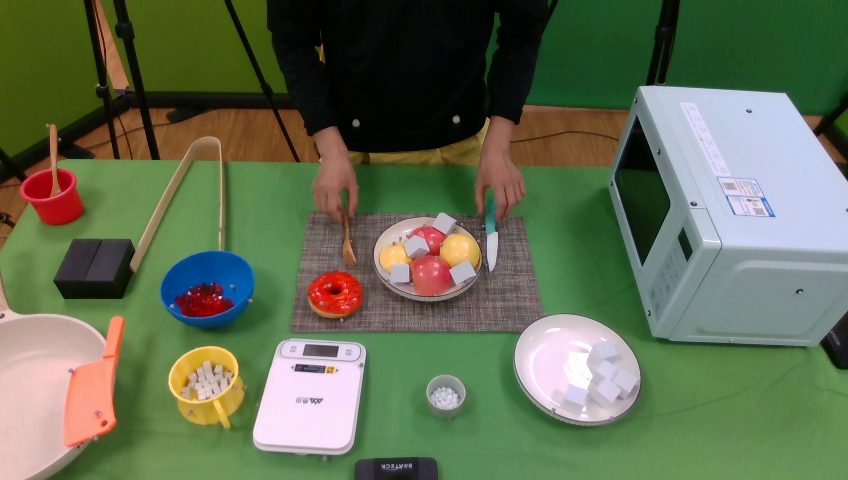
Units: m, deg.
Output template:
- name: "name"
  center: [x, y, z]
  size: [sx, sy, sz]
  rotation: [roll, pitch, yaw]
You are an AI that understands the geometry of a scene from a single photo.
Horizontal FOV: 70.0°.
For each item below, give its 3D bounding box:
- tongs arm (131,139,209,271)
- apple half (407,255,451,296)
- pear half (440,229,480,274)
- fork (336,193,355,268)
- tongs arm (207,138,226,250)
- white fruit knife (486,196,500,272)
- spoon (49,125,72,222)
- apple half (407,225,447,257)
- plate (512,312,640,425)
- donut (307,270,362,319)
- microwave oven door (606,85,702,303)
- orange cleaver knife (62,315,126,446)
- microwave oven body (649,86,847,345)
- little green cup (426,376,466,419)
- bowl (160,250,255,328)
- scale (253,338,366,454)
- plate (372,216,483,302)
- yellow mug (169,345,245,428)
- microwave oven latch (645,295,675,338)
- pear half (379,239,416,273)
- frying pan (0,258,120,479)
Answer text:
- name: "tongs arm"
  center: [-0.514, -0.086, 1.238]
  size: [0.028, 0.028, 0.385]
  rotation: [0, 45, 5]
- name: "apple half"
  center: [0.011, 0.058, 1.103]
  size: [0.075, 0.053, 0.080]
  rotation: [-6, 43, -13]
- name: "pear half"
  center: [0.065, 0.007, 1.150]
  size: [0.076, 0.056, 0.109]
  rotation: [-10, 43, -3]
- name: "fork"
  center: [-0.159, -0.024, 1.207]
  size: [0.019, 0.028, 0.206]
  rotation: [14, 39, -26]
- name: "tongs arm"
  center: [-0.431, -0.090, 1.245]
  size: [0.051, 0.026, 0.382]
  rotation: [-8, 46, -7]
- name: "white fruit knife"
  center: [0.138, -0.015, 1.221]
  size: [0.027, 0.016, 0.206]
  rotation: [-3, 46, 11]
- name: "spoon"
  center: [-0.718, -0.131, 1.189]
  size: [0.041, 0.021, 0.193]
  rotation: [-4, 90, -6]
- name: "apple half"
  center: [0.009, -0.006, 1.176]
  size: [0.081, 0.033, 0.081]
  rotation: [2, 52, -2]
- name: "plate"
  center: [0.246, 0.213, 0.999]
  size: [0.208, 0.039, 0.206]
  rotation: [2, 46, -2]
- name: "donut"
  center: [-0.157, 0.097, 1.073]
  size: [0.099, 0.048, 0.098]
  rotation: [4, 45, -4]
- name: "microwave oven door"
  center: [0.422, -0.094, 1.140]
  size: [0.039, 0.245, 0.353]
  rotation: [2, 46, -1]
- name: "orange cleaver knife"
  center: [-0.480, 0.199, 0.887]
  size: [0.077, 0.012, 0.210]
  rotation: [-9, 47, -8]
- name: "microwave oven body"
  center: [0.567, -0.053, 1.118]
  size: [0.326, 0.261, 0.439]
  rotation: [2, 45, -1]
- name: "little green cup"
  center: [0.033, 0.248, 0.950]
  size: [0.061, 0.039, 0.061]
  rotation: [2, 46, -2]
- name: "bowl"
  center: [-0.362, 0.098, 1.040]
  size: [0.151, 0.077, 0.150]
  rotation: [2, 45, -2]
- name: "scale"
  center: [-0.175, 0.236, 0.951]
  size: [0.149, 0.032, 0.199]
  rotation: [4, 45, -1]
- name: "plate"
  center: [0.006, 0.038, 1.145]
  size: [0.209, 0.038, 0.208]
  rotation: [2, 46, -2]
- name: "yellow mug"
  center: [-0.322, 0.230, 0.922]
  size: [0.100, 0.064, 0.130]
  rotation: [-24, 53, -25]
- name: "microwave oven latch"
  center: [0.411, 0.134, 1.061]
  size: [0.030, 0.029, 0.078]
  rotation: [3, 45, 0]
- name: "pear half"
  center: [-0.048, 0.024, 1.146]
  size: [0.070, 0.031, 0.087]
  rotation: [13, 47, -11]
- name: "frying pan"
  center: [-0.647, 0.164, 0.936]
  size: [0.307, 0.103, 0.485]
  rotation: [-19, 58, -22]
